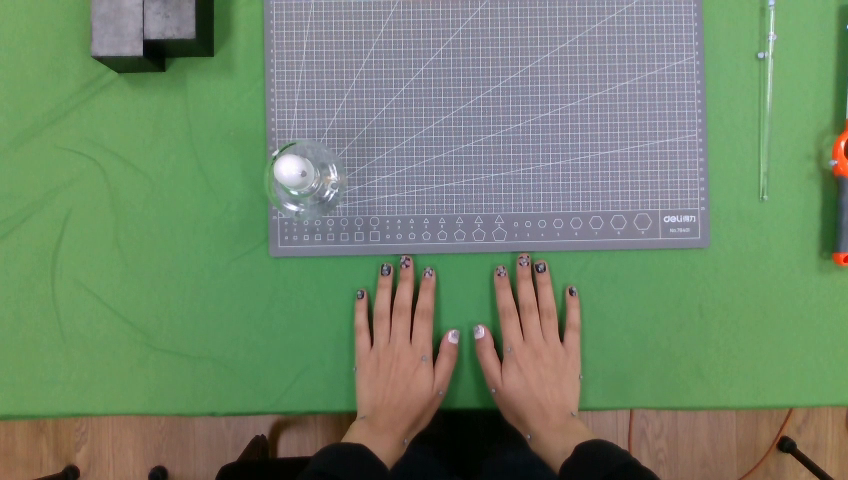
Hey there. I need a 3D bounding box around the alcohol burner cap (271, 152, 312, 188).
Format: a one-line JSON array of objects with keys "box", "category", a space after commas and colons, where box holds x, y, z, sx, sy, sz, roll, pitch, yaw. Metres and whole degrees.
[{"box": [-0.117, -0.063, 0.528, 0.034, 0.048, 0.034, 0, 92, -4], "category": "alcohol burner cap"}]

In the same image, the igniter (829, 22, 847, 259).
[{"box": [0.440, -0.117, 0.615, 0.057, 0.025, 0.276, 4, 89, -11], "category": "igniter"}]

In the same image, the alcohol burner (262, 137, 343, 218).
[{"box": [-0.117, -0.061, 0.564, 0.078, 0.119, 0.078, 0, 88, 2], "category": "alcohol burner"}]

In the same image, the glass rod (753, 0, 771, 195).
[{"box": [0.349, -0.146, 0.624, 0.008, 0.008, 0.199, 3, 92, 0], "category": "glass rod"}]
